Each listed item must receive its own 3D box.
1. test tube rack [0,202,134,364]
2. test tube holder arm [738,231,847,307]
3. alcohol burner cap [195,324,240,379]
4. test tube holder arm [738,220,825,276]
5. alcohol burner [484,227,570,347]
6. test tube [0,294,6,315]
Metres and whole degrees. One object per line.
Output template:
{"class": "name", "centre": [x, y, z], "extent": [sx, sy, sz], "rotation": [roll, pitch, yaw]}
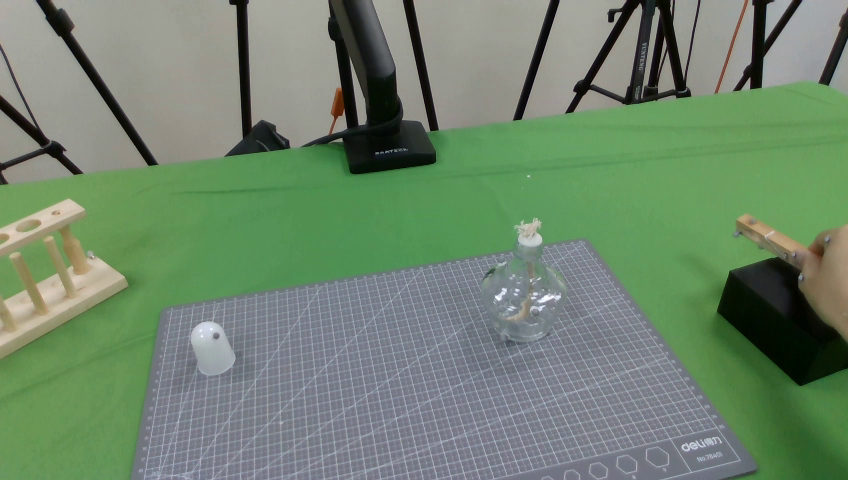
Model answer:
{"class": "test tube rack", "centre": [-0.407, 0.063, 0.553], "extent": [0.066, 0.086, 0.242], "rotation": [24, 43, 32]}
{"class": "test tube holder arm", "centre": [0.346, 0.035, 0.525], "extent": [0.015, 0.013, 0.176], "rotation": [-40, 41, 3]}
{"class": "alcohol burner cap", "centre": [-0.182, 0.094, 0.529], "extent": [0.034, 0.048, 0.033], "rotation": [-1, 36, 1]}
{"class": "test tube holder arm", "centre": [0.326, 0.008, 0.556], "extent": [0.015, 0.010, 0.087], "rotation": [-40, 38, 4]}
{"class": "alcohol burner", "centre": [0.092, 0.036, 0.533], "extent": [0.078, 0.120, 0.077], "rotation": [-1, 38, 1]}
{"class": "test tube", "centre": [-0.412, 0.007, 0.545], "extent": [0.017, 0.151, 0.017], "rotation": [-1, 32, 1]}
